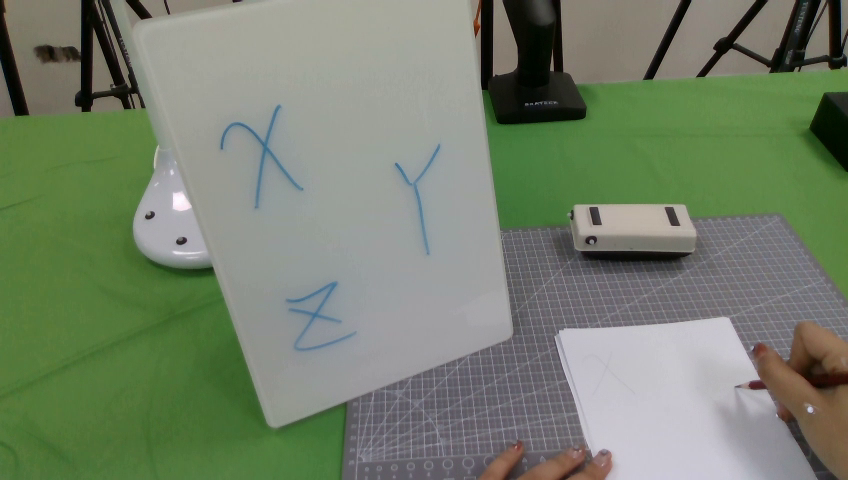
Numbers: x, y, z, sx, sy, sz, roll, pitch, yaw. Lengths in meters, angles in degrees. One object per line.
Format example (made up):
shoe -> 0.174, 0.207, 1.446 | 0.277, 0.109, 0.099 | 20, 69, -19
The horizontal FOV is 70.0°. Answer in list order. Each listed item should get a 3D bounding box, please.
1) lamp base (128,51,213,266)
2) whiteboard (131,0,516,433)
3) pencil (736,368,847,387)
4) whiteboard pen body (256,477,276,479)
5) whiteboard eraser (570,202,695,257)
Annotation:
lamp base -> -0.244, -0.091, 0.615 | 0.177, 0.182, 0.160 | 25, 48, 31
whiteboard -> -0.068, -0.041, 0.498 | 0.217, 0.307, 0.142 | -17, 24, -15
pencil -> 0.273, 0.088, 0.394 | 0.012, 0.194, 0.012 | 4, 73, -13
whiteboard pen body -> -0.172, 0.187, 0.420 | 0.141, 0.017, 0.017 | -10, 42, -8
whiteboard eraser -> 0.204, -0.011, 0.601 | 0.112, 0.042, 0.055 | 1, 43, 4
